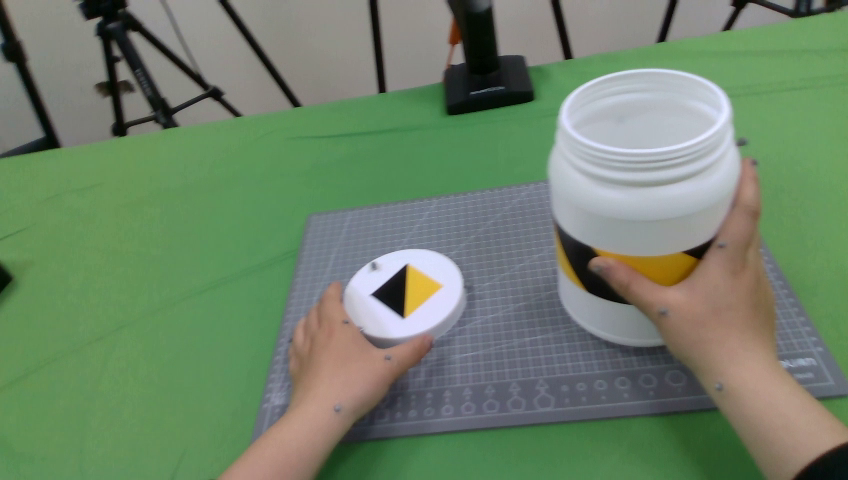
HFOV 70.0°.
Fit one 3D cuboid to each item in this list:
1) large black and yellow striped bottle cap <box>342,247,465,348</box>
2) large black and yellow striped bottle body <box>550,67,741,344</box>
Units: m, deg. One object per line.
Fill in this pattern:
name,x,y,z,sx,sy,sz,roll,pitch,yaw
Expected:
large black and yellow striped bottle cap,-0.020,0.050,0.565,0.115,0.019,0.114,-7,42,7
large black and yellow striped bottle body,0.165,-0.024,0.466,0.130,0.186,0.129,-8,41,8
